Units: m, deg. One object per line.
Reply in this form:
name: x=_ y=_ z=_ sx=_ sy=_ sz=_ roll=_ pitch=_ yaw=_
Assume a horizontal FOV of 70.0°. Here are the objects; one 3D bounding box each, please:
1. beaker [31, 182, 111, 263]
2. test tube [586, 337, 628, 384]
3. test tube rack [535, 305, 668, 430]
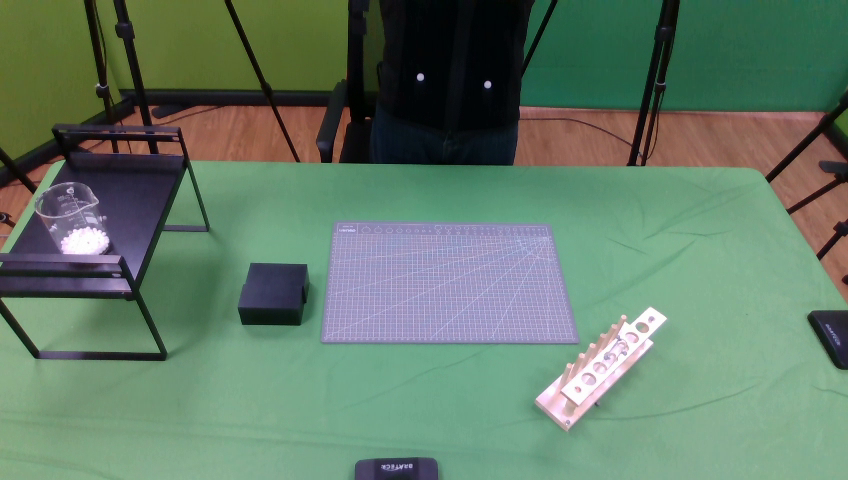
beaker: x=-0.502 y=-0.022 z=0.877 sx=0.084 sy=0.101 sz=0.073 roll=-2 pitch=47 yaw=-7
test tube: x=0.273 y=0.191 z=0.916 sx=0.017 sy=0.151 sz=0.017 roll=5 pitch=50 yaw=-6
test tube rack: x=0.290 y=0.193 z=0.984 sx=0.242 sy=0.085 sz=0.066 roll=-32 pitch=56 yaw=-30
